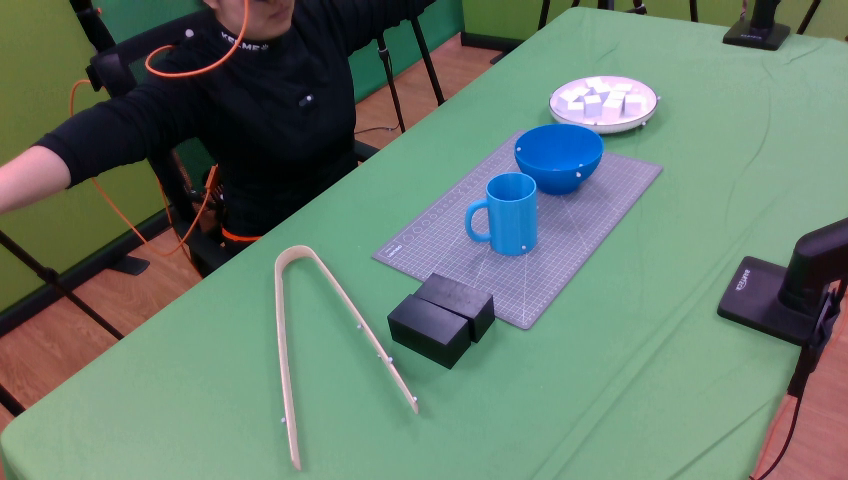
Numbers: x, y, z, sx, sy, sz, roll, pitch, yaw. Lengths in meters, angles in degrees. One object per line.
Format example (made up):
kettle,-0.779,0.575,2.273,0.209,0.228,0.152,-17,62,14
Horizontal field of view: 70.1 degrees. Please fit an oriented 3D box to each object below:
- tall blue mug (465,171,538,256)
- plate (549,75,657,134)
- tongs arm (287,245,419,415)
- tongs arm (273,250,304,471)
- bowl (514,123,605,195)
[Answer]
tall blue mug,0.125,-0.033,0.925,0.107,0.108,0.077,-32,46,-25
plate,0.357,-0.269,1.220,0.209,0.038,0.208,-5,41,5
tongs arm,-0.114,0.113,0.859,0.051,0.027,0.381,-28,43,-12
tongs arm,-0.188,0.145,0.844,0.028,0.028,0.384,-22,41,0
bowl,0.232,-0.131,1.045,0.151,0.077,0.150,-5,40,5
